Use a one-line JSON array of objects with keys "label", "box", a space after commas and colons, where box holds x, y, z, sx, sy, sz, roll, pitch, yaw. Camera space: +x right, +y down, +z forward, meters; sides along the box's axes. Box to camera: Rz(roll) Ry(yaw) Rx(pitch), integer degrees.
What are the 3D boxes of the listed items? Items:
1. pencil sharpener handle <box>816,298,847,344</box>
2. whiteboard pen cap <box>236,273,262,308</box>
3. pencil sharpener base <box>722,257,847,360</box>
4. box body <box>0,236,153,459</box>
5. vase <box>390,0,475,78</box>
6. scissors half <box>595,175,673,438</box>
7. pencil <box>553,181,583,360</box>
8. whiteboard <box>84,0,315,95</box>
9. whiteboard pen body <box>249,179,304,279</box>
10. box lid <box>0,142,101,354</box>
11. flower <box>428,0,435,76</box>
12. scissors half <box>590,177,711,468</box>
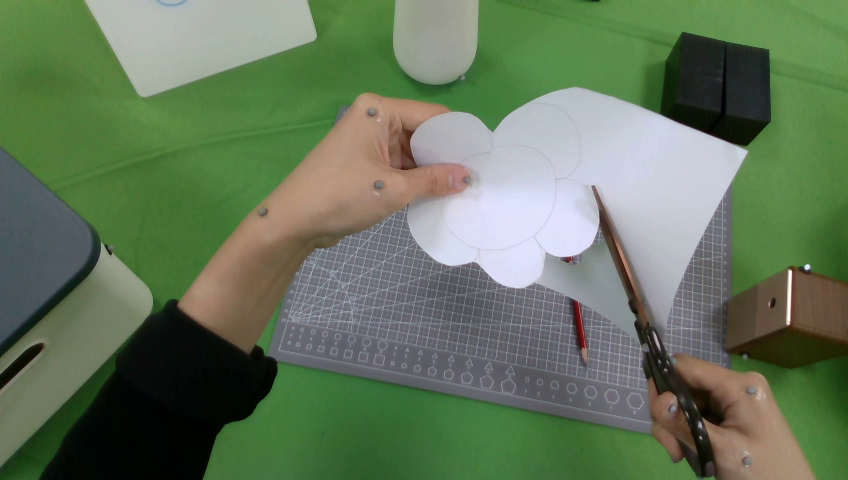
[{"label": "pencil sharpener handle", "box": [0.394, 0.078, 0.556, 0.030, 0.068, 0.035, 15, 62, 1]}, {"label": "whiteboard pen cap", "box": [-0.173, 0.050, 0.603, 0.018, 0.018, 0.033, 16, 65, 5]}, {"label": "pencil sharpener base", "box": [0.344, 0.068, 0.568, 0.077, 0.107, 0.061, 15, 68, 1]}, {"label": "box body", "box": [-0.463, 0.016, 0.531, 0.362, 0.161, 0.253, 36, 72, 11]}, {"label": "vase", "box": [0.010, -0.263, 0.637, 0.098, 0.201, 0.097, 0, 67, 0]}, {"label": "scissors half", "box": [0.128, 0.043, 0.364, 0.013, 0.040, 0.176, -19, 108, 7]}, {"label": "pencil", "box": [0.151, 0.028, 0.629, 0.012, 0.012, 0.192, -3, 71, -3]}, {"label": "whiteboard", "box": [-0.273, -0.349, 0.636, 0.217, 0.308, 0.142, -22, 52, -10]}, {"label": "whiteboard pen body", "box": [-0.156, -0.002, 0.626, 0.017, 0.017, 0.140, 17, 67, 5]}, {"label": "box lid", "box": [-0.462, -0.013, 0.462, 0.370, 0.015, 0.262, 36, 71, 11]}, {"label": "flower", "box": [0.008, -0.308, 0.565, 0.044, 0.365, 0.038, 4, 51, 3]}, {"label": "scissors half", "box": [0.126, 0.046, 0.343, 0.013, 0.040, 0.175, -20, 85, 2]}]
